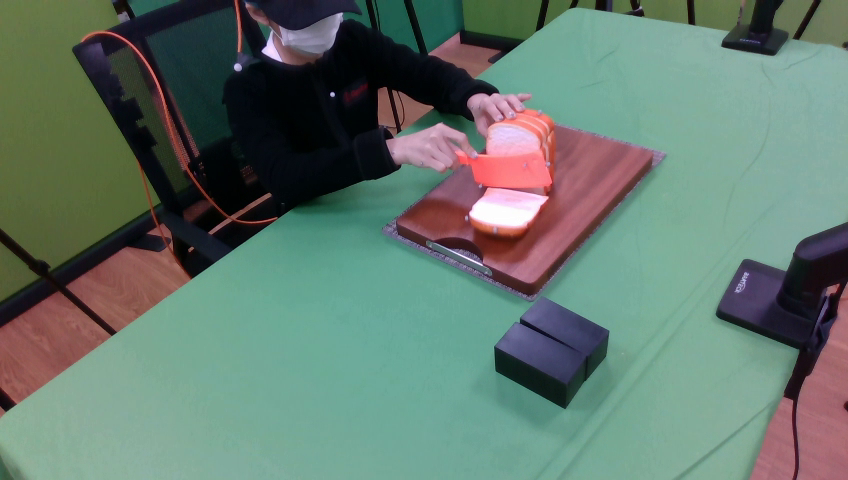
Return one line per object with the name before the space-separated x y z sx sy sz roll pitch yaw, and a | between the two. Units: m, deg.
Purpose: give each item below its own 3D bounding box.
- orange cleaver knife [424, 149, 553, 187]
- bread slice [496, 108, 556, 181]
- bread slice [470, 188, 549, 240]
orange cleaver knife | 0.102 -0.118 0.981 0.210 0.077 0.012 6 46 21
bread slice | 0.170 -0.156 1.005 0.106 0.135 0.018 17 48 19
bread slice | 0.129 -0.041 0.952 0.104 0.019 0.132 12 36 22
